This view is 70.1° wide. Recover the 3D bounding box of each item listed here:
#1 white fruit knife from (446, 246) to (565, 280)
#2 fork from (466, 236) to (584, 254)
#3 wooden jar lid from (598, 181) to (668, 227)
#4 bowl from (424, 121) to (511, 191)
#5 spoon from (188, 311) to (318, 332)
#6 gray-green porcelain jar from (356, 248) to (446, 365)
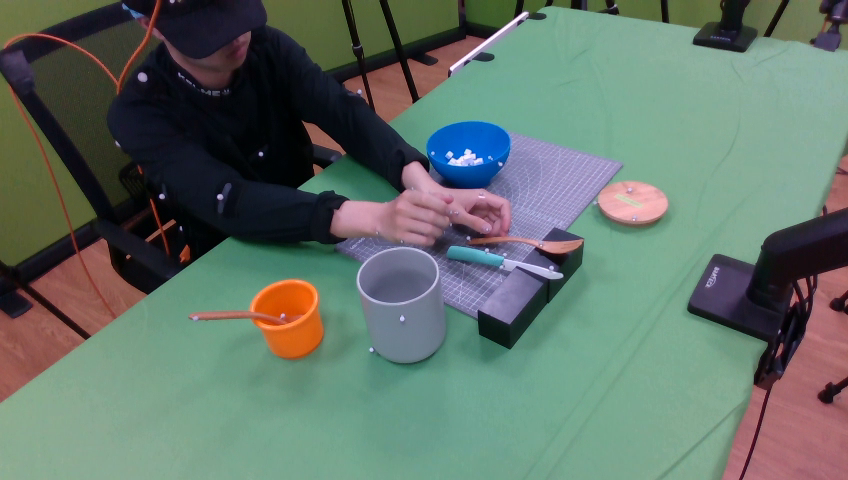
[{"bbox_3d":[0.111,0.033,0.867,0.205,0.027,0.016,11,42,40],"label":"white fruit knife"},{"bbox_3d":[0.143,0.003,0.894,0.205,0.019,0.028,4,59,41],"label":"fork"},{"bbox_3d":[0.340,-0.057,0.988,0.108,0.021,0.108,-5,41,5],"label":"wooden jar lid"},{"bbox_3d":[0.080,-0.141,1.074,0.151,0.077,0.150,-4,40,4],"label":"bowl"},{"bbox_3d":[-0.216,0.102,0.783,0.041,0.195,0.021,26,95,39],"label":"spoon"},{"bbox_3d":[-0.027,0.091,0.786,0.106,0.127,0.105,-4,40,4],"label":"gray-green porcelain jar"}]
